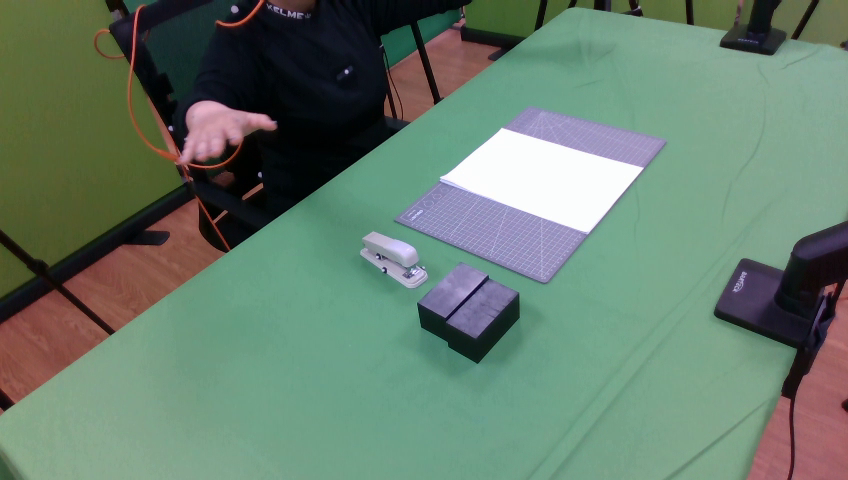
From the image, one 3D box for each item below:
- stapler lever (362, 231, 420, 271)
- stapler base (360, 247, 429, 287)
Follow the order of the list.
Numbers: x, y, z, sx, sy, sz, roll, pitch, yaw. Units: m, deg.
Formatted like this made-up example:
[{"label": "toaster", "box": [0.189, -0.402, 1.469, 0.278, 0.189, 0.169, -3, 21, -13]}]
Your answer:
[{"label": "stapler lever", "box": [-0.052, 0.011, 0.933, 0.027, 0.040, 0.117, -34, 45, -30]}, {"label": "stapler base", "box": [-0.048, 0.030, 0.949, 0.041, 0.024, 0.129, -34, 45, -30]}]
